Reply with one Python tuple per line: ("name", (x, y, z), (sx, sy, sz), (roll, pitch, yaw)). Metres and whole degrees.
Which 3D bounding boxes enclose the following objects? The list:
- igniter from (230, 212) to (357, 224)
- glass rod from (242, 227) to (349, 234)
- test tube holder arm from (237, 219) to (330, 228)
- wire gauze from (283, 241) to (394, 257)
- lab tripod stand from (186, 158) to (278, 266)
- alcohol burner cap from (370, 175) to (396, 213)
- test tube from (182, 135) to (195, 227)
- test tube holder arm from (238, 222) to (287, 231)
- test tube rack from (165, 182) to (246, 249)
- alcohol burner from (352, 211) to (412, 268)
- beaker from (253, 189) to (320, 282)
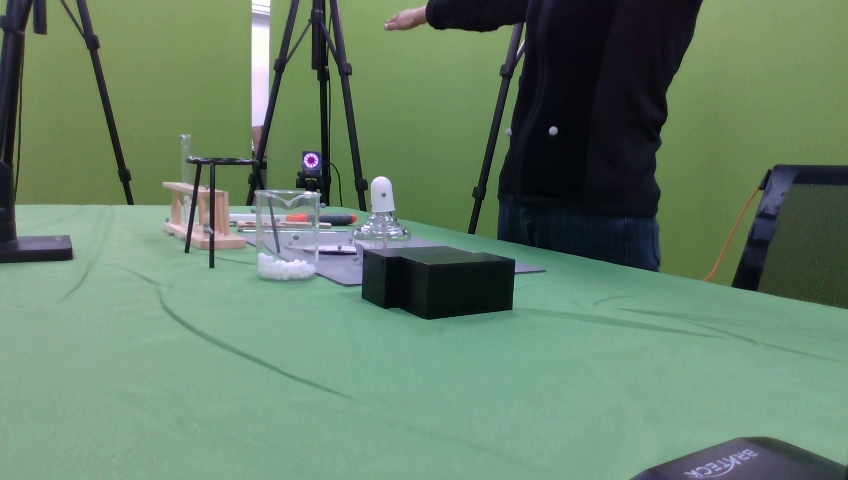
("igniter", (-0.271, -0.044, 1.232), (0.278, 0.025, 0.057), (-2, -2, -27))
("glass rod", (-0.232, -0.017, 1.110), (0.201, 0.008, 0.008), (2, 6, -30))
("test tube holder arm", (-0.261, -0.031, 1.142), (0.179, 0.015, 0.013), (-4, 47, -34))
("wire gauze", (-0.127, 0.012, 0.894), (0.126, 0.011, 0.121), (1, 6, -35))
("lab tripod stand", (-0.261, -0.042, 0.796), (0.148, 0.131, 0.148), (3, 9, 0))
("alcohol burner cap", (-0.055, -0.059, 0.778), (0.034, 0.048, 0.034), (-7, 10, 1))
("test tube", (-0.382, -0.095, 0.983), (0.017, 0.150, 0.017), (-1, 2, 0))
("test tube holder arm", (-0.297, -0.024, 1.114), (0.088, 0.015, 0.010), (-3, 47, -33))
("test tube rack", (-0.360, -0.045, 0.982), (0.067, 0.085, 0.241), (-3, 9, -34))
("alcohol burner", (-0.055, -0.024, 0.784), (0.078, 0.119, 0.078), (2, 9, 0))
("beaker", (-0.156, -0.005, 0.689), (0.074, 0.100, 0.083), (0, 8, -14))
